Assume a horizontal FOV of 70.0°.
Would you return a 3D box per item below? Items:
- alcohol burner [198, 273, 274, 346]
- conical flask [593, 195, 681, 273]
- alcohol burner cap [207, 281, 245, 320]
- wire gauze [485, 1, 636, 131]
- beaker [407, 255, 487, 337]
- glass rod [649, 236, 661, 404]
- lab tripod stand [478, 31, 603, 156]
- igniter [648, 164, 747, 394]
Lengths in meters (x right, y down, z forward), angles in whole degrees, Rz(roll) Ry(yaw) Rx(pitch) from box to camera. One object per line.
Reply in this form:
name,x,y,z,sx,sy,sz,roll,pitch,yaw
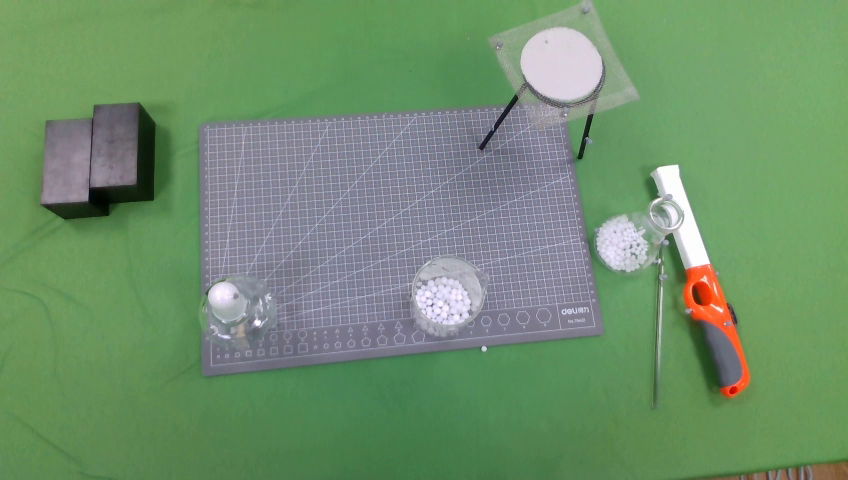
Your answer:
alcohol burner,-0.196,0.068,0.622,0.078,0.119,0.077,2,73,-5
conical flask,0.241,-0.011,0.672,0.075,0.122,0.075,1,75,-3
alcohol burner cap,-0.193,0.056,0.588,0.034,0.048,0.033,4,66,-8
wire gauze,0.144,-0.183,0.635,0.125,0.011,0.121,-21,79,-9
beaker,0.022,0.062,0.646,0.084,0.100,0.073,-23,77,-10
glass rod,0.269,0.089,0.705,0.008,0.008,0.198,9,74,-1
lab tripod stand,0.138,-0.161,0.699,0.148,0.132,0.147,1,76,-4
igniter,0.320,0.040,0.712,0.057,0.025,0.275,-9,75,-17
